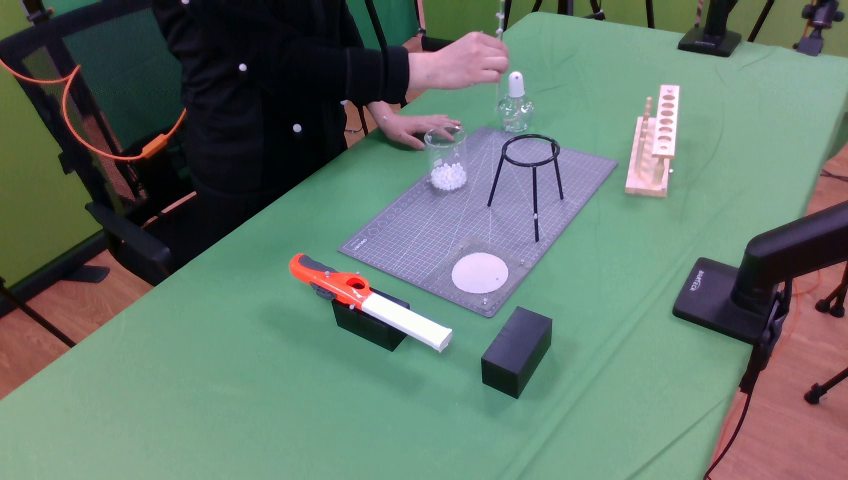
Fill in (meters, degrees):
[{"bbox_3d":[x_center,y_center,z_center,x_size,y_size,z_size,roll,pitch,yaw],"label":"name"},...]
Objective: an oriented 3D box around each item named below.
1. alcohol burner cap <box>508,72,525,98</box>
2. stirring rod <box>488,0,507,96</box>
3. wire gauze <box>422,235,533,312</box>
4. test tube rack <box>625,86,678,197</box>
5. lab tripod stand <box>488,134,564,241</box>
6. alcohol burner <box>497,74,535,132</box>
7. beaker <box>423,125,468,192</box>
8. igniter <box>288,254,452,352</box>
[{"bbox_3d":[0.181,-0.306,1.186,0.034,0.048,0.033,-6,39,6],"label":"alcohol burner cap"},{"bbox_3d":[0.110,-0.288,0.920,0.006,0.177,0.014,30,61,18],"label":"stirring rod"},{"bbox_3d":[0.082,0.049,0.914,0.120,0.011,0.125,26,52,32],"label":"wire gauze"},{"bbox_3d":[0.412,-0.184,1.088,0.066,0.085,0.242,9,43,18],"label":"test tube rack"},{"bbox_3d":[0.168,-0.092,0.972,0.148,0.132,0.147,-5,41,5],"label":"lab tripod stand"},{"bbox_3d":[0.184,-0.278,1.210,0.078,0.119,0.077,-3,42,3],"label":"alcohol burner"},{"bbox_3d":[0.042,-0.144,1.078,0.073,0.100,0.084,28,51,34],"label":"beaker"},{"bbox_3d":[-0.083,0.079,0.818,0.274,0.025,0.057,23,46,27],"label":"igniter"}]
